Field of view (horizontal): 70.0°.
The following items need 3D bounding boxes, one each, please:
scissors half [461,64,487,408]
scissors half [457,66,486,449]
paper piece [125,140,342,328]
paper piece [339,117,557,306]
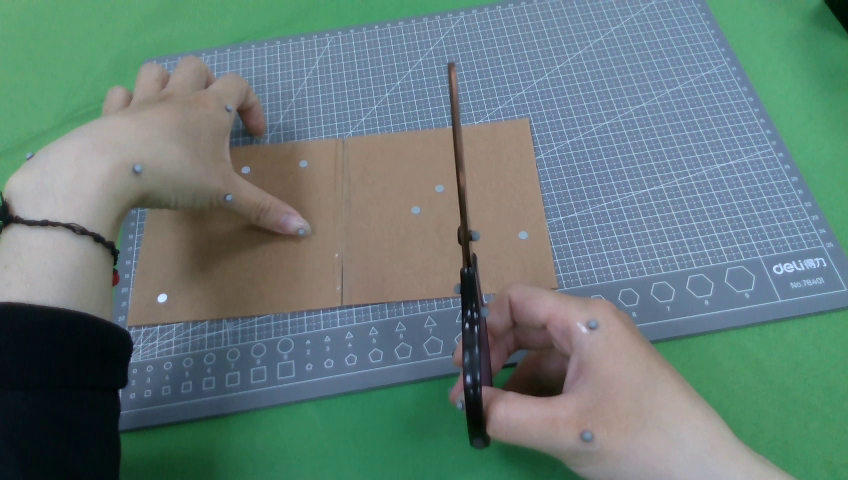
[{"bbox_3d":[0.022,0.007,0.286,0.013,0.176,0.040,1,29,10],"label":"scissors half"},{"bbox_3d":[0.020,0.014,0.267,0.013,0.040,0.176,-2,103,5],"label":"scissors half"},{"bbox_3d":[-0.122,-0.010,0.405,0.138,0.009,0.134,-5,57,3],"label":"paper piece"},{"bbox_3d":[0.011,-0.023,0.401,0.136,0.004,0.134,-5,61,3],"label":"paper piece"}]
